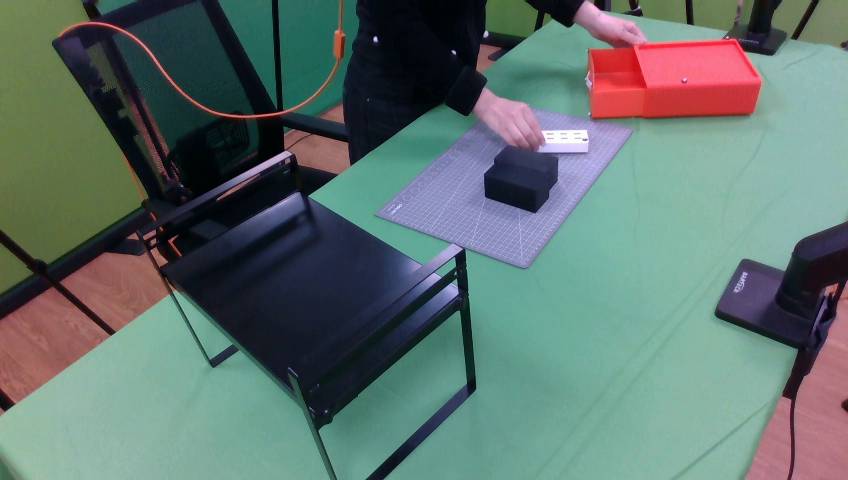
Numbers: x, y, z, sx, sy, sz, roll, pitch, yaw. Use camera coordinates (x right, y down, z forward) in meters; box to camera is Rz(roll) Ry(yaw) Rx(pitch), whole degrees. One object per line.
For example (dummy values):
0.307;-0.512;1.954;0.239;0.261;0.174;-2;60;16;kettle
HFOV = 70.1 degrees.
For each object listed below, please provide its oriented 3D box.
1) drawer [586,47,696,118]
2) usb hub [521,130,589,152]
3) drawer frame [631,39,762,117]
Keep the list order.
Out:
0.445;-0.329;1.251;0.211;0.073;0.194;2;41;9;drawer
0.247;-0.188;1.146;0.125;0.025;0.049;1;39;7;usb hub
0.539;-0.332;1.234;0.213;0.083;0.201;0;41;7;drawer frame
